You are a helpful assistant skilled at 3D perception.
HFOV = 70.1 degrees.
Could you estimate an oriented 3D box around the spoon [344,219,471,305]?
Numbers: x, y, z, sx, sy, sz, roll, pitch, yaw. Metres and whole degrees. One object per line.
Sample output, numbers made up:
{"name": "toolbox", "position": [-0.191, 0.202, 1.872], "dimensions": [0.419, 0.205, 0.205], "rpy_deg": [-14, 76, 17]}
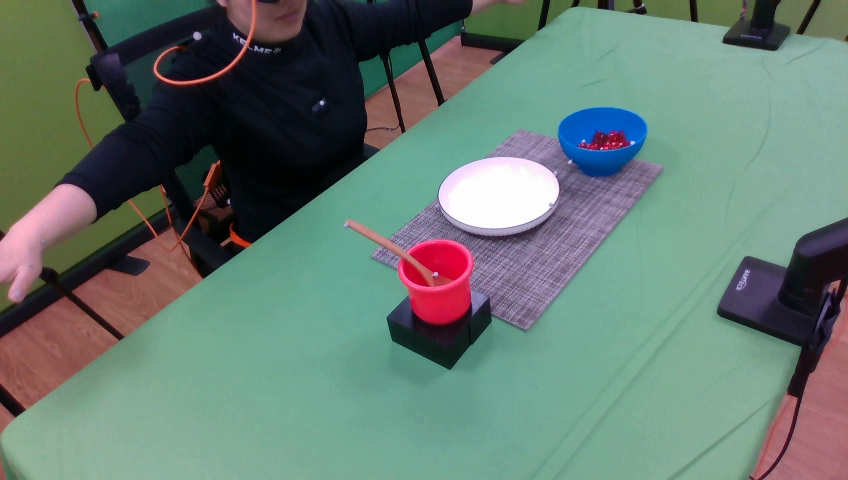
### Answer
{"name": "spoon", "position": [-0.020, 0.026, 0.781], "dimensions": [0.194, 0.021, 0.041], "rpy_deg": [37, 43, -14]}

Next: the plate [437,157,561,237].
{"name": "plate", "position": [0.127, -0.070, 1.023], "dimensions": [0.207, 0.039, 0.206], "rpy_deg": [-5, 40, 5]}

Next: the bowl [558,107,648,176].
{"name": "bowl", "position": [0.313, -0.165, 1.069], "dimensions": [0.151, 0.077, 0.150], "rpy_deg": [-5, 40, 5]}
